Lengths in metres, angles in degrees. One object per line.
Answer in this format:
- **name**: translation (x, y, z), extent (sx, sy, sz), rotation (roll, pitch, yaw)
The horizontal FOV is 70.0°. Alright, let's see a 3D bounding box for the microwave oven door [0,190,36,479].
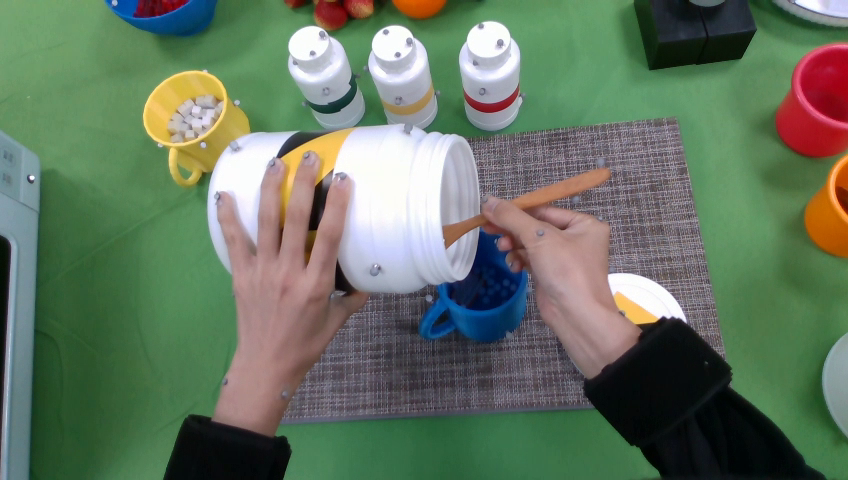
- **microwave oven door**: translation (-0.450, 0.087, 0.537), extent (0.039, 0.245, 0.353), rotation (-14, 69, 3)

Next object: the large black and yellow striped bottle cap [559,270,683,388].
- **large black and yellow striped bottle cap**: translation (0.190, 0.085, 0.586), extent (0.115, 0.019, 0.114), rotation (-2, 69, 7)

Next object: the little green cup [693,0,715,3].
- **little green cup**: translation (0.302, -0.286, 0.643), extent (0.061, 0.039, 0.061), rotation (-2, 68, 5)

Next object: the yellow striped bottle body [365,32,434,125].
- **yellow striped bottle body**: translation (-0.026, -0.179, 0.660), extent (0.063, 0.121, 0.062), rotation (-3, 69, 7)

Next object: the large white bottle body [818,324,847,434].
- **large white bottle body**: translation (0.411, 0.102, 0.463), extent (0.130, 0.186, 0.129), rotation (-3, 69, 7)

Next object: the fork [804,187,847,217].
- **fork**: translation (0.430, -0.017, 0.522), extent (0.028, 0.019, 0.205), rotation (-33, 25, -12)

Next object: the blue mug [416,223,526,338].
- **blue mug**: translation (0.041, 0.052, 0.570), extent (0.116, 0.106, 0.081), rotation (-37, 69, -7)

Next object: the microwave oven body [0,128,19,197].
- **microwave oven body**: translation (-0.600, 0.084, 0.564), extent (0.326, 0.262, 0.438), rotation (-13, 70, 2)

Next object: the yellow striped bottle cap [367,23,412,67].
- **yellow striped bottle cap**: translation (-0.035, -0.197, 0.611), extent (0.044, 0.019, 0.044), rotation (-1, 67, 3)

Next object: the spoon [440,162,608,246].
- **spoon**: translation (0.047, -0.019, 0.465), extent (0.193, 0.022, 0.041), rotation (-22, 60, 15)

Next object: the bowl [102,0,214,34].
- **bowl**: translation (-0.324, -0.320, 0.774), extent (0.151, 0.077, 0.150), rotation (-2, 70, 7)

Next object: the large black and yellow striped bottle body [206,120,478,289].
- **large black and yellow striped bottle body**: translation (-0.059, -0.027, 0.480), extent (0.183, 0.132, 0.130), rotation (0, 69, 19)

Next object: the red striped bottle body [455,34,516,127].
- **red striped bottle body**: translation (0.067, -0.178, 0.647), extent (0.063, 0.120, 0.062), rotation (-3, 69, 7)

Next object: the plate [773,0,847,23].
- **plate**: translation (0.469, -0.330, 0.691), extent (0.209, 0.038, 0.207), rotation (-2, 70, 7)

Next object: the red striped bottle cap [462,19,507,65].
- **red striped bottle cap**: translation (0.060, -0.196, 0.598), extent (0.044, 0.018, 0.044), rotation (-1, 68, 3)

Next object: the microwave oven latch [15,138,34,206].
- **microwave oven latch**: translation (-0.478, -0.078, 0.709), extent (0.030, 0.030, 0.078), rotation (-13, 70, 3)

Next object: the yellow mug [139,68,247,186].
- **yellow mug**: translation (-0.270, -0.126, 0.703), extent (0.100, 0.064, 0.130), rotation (5, 72, 10)

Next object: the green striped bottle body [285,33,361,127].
- **green striped bottle body**: translation (-0.113, -0.182, 0.673), extent (0.063, 0.120, 0.063), rotation (-2, 70, 7)

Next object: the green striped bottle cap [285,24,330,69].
- **green striped bottle cap**: translation (-0.120, -0.200, 0.625), extent (0.044, 0.020, 0.044), rotation (-3, 67, 8)

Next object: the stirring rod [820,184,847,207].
- **stirring rod**: translation (0.402, -0.016, 0.534), extent (0.014, 0.006, 0.175), rotation (-2, 26, 4)
